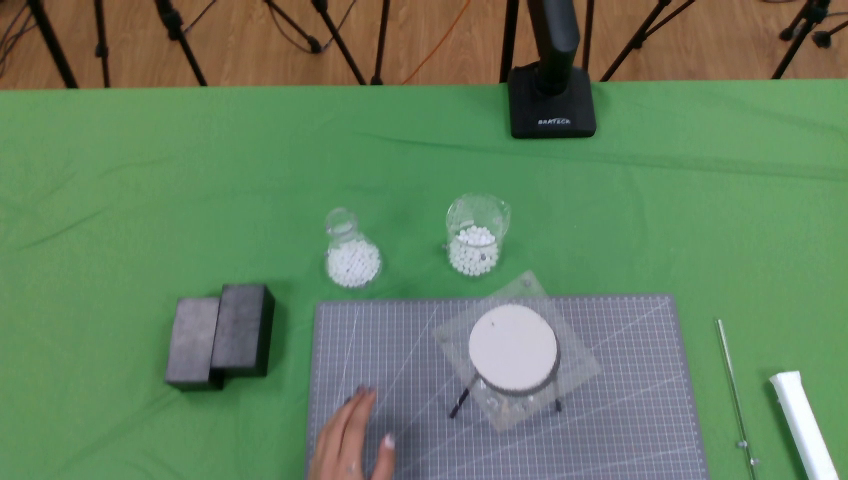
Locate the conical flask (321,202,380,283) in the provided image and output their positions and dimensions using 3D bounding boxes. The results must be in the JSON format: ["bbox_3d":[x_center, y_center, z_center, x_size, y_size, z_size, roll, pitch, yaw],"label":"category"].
[{"bbox_3d":[-0.095,-0.002,0.735,0.075,0.123,0.074,0,65,1],"label":"conical flask"}]

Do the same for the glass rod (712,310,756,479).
[{"bbox_3d":[0.362,0.176,0.710,0.008,0.008,0.198,-1,65,0],"label":"glass rod"}]

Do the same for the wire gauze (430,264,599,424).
[{"bbox_3d":[0.088,0.100,0.601,0.125,0.011,0.120,-29,69,-11],"label":"wire gauze"}]

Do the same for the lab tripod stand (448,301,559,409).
[{"bbox_3d":[0.089,0.133,0.661,0.148,0.132,0.147,0,67,1],"label":"lab tripod stand"}]

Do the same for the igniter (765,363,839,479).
[{"bbox_3d":[0.434,0.271,0.654,0.057,0.025,0.274,-2,65,-12],"label":"igniter"}]

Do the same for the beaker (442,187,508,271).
[{"bbox_3d":[0.062,-0.011,0.750,0.084,0.101,0.073,-26,67,-11],"label":"beaker"}]

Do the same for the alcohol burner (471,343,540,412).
[{"bbox_3d":[0.092,0.147,0.665,0.078,0.120,0.077,0,63,0],"label":"alcohol burner"}]
